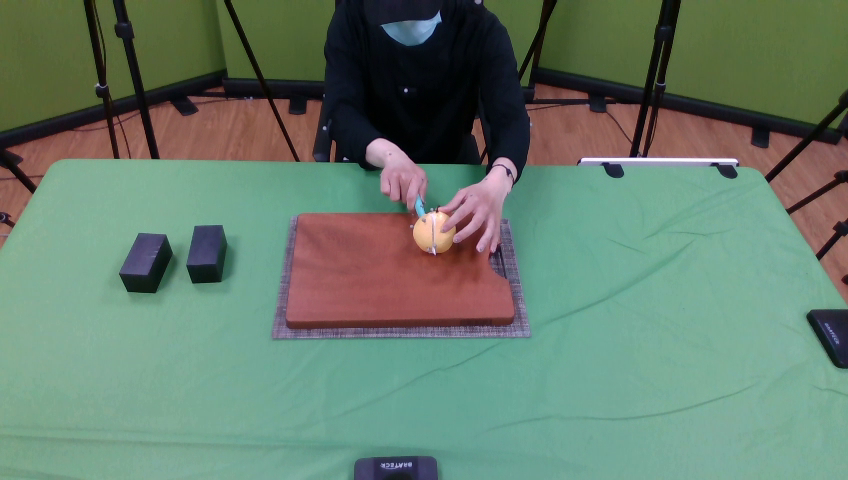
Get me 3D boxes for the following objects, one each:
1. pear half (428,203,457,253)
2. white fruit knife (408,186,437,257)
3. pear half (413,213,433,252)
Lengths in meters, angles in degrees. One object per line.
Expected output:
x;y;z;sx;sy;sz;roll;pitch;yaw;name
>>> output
0.035;-0.028;1.123;0.056;0.110;0.076;-10;52;-16;pear half
-0.001;-0.040;1.164;0.016;0.027;0.206;-6;44;-14;white fruit knife
-0.004;-0.015;1.122;0.031;0.088;0.070;-15;56;-12;pear half
